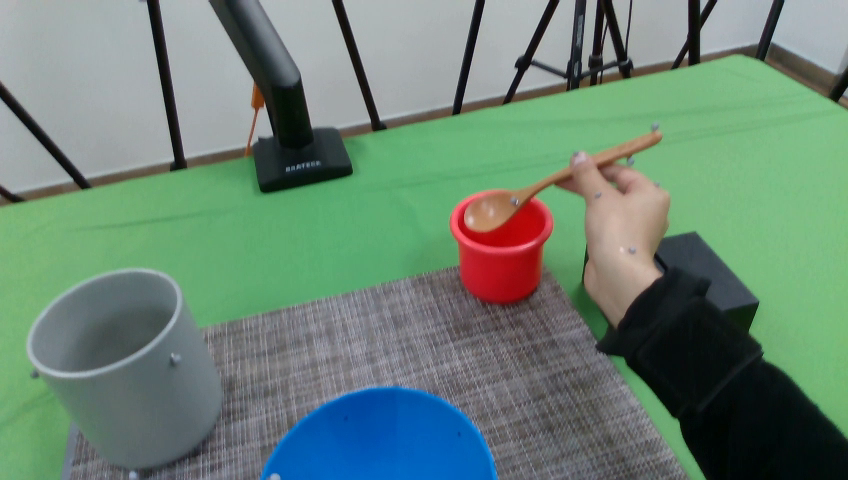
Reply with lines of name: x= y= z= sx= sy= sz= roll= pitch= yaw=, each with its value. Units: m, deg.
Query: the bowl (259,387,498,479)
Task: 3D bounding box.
bowl: x=-0.027 y=0.180 z=0.395 sx=0.151 sy=0.077 sz=0.150 roll=-2 pitch=40 yaw=2

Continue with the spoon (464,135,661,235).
spoon: x=0.115 y=-0.048 z=0.539 sx=0.193 sy=0.022 sz=0.041 roll=-26 pitch=48 yaw=37

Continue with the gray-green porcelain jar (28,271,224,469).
gray-green porcelain jar: x=-0.219 y=0.104 z=0.468 sx=0.106 sy=0.127 sz=0.105 roll=-2 pitch=39 yaw=2
